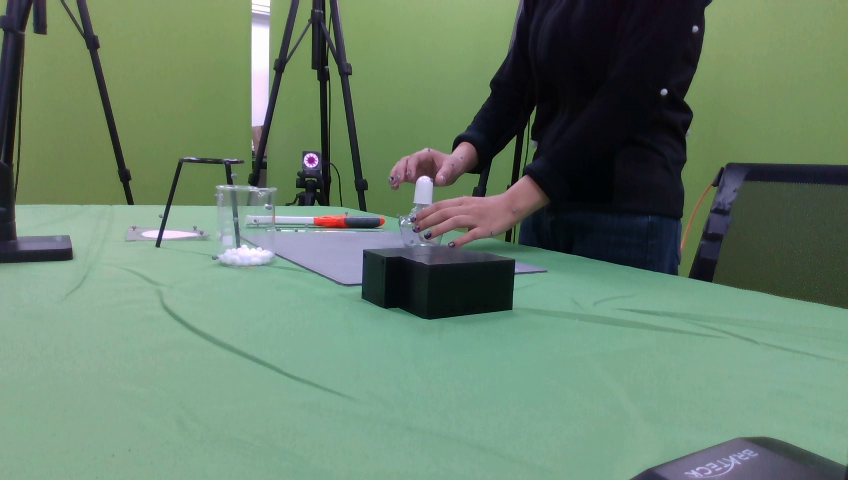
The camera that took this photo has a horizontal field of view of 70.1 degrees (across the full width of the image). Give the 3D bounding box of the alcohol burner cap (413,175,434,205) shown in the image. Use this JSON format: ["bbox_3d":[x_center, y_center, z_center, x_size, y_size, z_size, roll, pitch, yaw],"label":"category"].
[{"bbox_3d":[0.001,-0.080,0.958,0.034,0.048,0.034,5,4,0],"label":"alcohol burner cap"}]

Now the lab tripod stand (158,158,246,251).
[{"bbox_3d":[-0.314,-0.055,0.891,0.148,0.131,0.148,2,9,0],"label":"lab tripod stand"}]

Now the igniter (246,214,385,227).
[{"bbox_3d":[-0.214,-0.040,1.216,0.278,0.025,0.057,0,-2,-22],"label":"igniter"}]

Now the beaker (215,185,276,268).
[{"bbox_3d":[-0.226,-0.019,0.773,0.074,0.100,0.084,5,7,14],"label":"beaker"}]

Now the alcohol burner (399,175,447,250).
[{"bbox_3d":[-0.002,-0.044,0.961,0.078,0.119,0.078,0,8,0],"label":"alcohol burner"}]

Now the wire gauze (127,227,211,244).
[{"bbox_3d":[-0.420,-0.010,0.999,0.122,0.011,0.124,-2,10,-24],"label":"wire gauze"}]

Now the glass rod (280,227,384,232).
[{"bbox_3d":[-0.175,-0.021,1.161,0.200,0.008,0.008,1,7,-15],"label":"glass rod"}]
